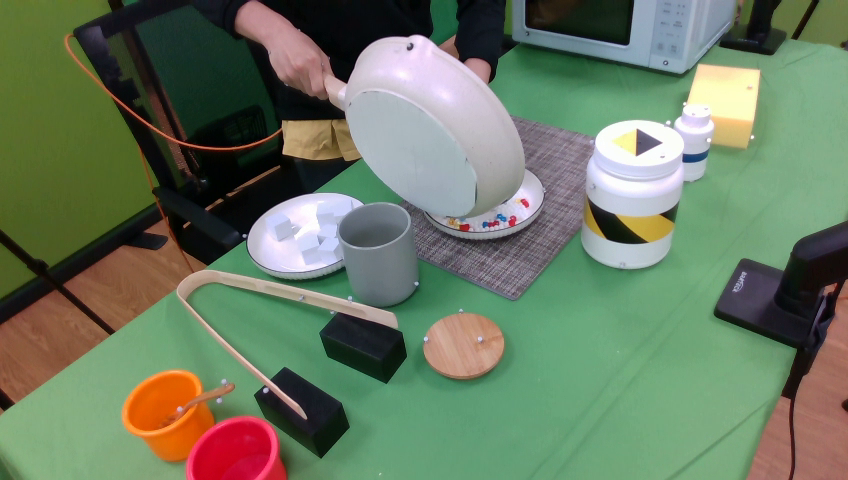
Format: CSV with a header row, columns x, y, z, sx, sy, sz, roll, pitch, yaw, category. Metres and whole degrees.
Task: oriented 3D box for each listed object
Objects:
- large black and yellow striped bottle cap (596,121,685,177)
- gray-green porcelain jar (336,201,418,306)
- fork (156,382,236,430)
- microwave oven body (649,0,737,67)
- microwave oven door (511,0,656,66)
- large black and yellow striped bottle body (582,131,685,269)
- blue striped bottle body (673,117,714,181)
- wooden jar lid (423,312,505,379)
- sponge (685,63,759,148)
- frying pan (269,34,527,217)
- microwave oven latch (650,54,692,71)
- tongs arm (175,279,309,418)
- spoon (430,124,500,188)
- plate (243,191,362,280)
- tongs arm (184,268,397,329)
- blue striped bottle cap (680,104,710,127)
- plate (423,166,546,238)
x,y,z,sx,sy,sz,roll,pitch,yaw,category
0.293,-0.126,0.821,0.115,0.019,0.114,-5,40,4,large black and yellow striped bottle cap
-0.064,0.024,0.872,0.106,0.127,0.105,-4,41,4,gray-green porcelain jar
-0.262,0.189,0.690,0.018,0.206,0.028,49,43,-7,fork
0.475,-0.602,1.411,0.438,0.261,0.327,23,50,32,microwave oven body
0.351,-0.540,1.349,0.353,0.245,0.039,24,50,31,microwave oven door
0.301,-0.064,0.877,0.131,0.185,0.130,-4,41,4,large black and yellow striped bottle body
0.449,-0.165,1.022,0.063,0.121,0.063,-5,41,4,blue striped bottle body
0.053,0.142,0.800,0.108,0.021,0.108,-5,39,4,wooden jar lid
0.569,-0.263,1.164,0.117,0.061,0.207,12,45,22,sponge
-0.073,-0.190,0.895,0.484,0.308,0.103,35,66,29,frying pan
0.531,-0.386,1.301,0.078,0.029,0.030,24,50,32,microwave oven latch
-0.255,0.132,0.800,0.028,0.028,0.384,-41,40,-23,tongs arm
0.072,-0.143,0.992,0.041,0.021,0.194,34,50,13,spoon
-0.187,-0.005,0.992,0.207,0.039,0.206,-3,41,3,plate
-0.202,0.084,0.847,0.382,0.027,0.051,11,44,34,tongs arm
0.443,-0.205,0.989,0.044,0.021,0.044,-1,41,2,blue striped bottle cap
0.100,-0.068,1.017,0.209,0.038,0.208,-4,40,4,plate
